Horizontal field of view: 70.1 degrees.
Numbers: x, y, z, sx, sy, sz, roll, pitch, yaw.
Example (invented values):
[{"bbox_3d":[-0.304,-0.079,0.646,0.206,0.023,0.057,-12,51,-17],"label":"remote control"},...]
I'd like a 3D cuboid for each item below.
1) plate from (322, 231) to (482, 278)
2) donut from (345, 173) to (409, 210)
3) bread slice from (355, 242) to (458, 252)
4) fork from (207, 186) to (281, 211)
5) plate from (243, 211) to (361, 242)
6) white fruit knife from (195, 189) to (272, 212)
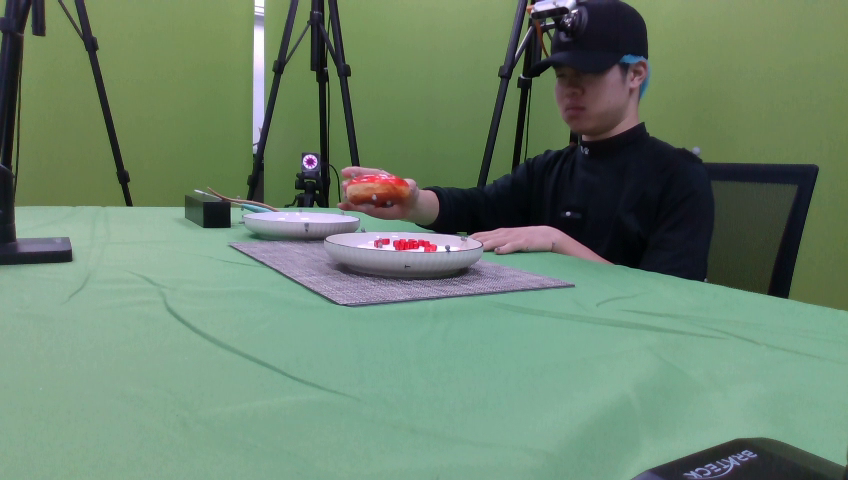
[{"bbox_3d":[-0.028,0.018,0.789,0.209,0.038,0.209,3,7,0],"label":"plate"},{"bbox_3d":[-0.071,-0.074,0.911,0.099,0.048,0.099,-4,-6,0],"label":"donut"},{"bbox_3d":[-0.027,0.019,0.793,0.131,0.019,0.105,6,7,18],"label":"bread slice"},{"bbox_3d":[-0.342,-0.070,1.244,0.208,0.018,0.028,18,-5,-24],"label":"fork"},{"bbox_3d":[-0.219,-0.025,1.092,0.208,0.039,0.207,3,7,0],"label":"plate"},{"bbox_3d":[-0.378,-0.073,1.270,0.208,0.016,0.027,18,-4,-32],"label":"white fruit knife"}]
